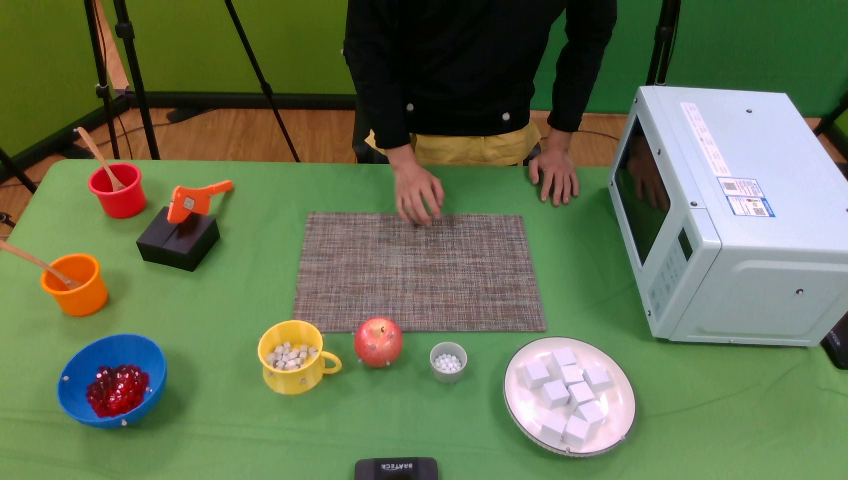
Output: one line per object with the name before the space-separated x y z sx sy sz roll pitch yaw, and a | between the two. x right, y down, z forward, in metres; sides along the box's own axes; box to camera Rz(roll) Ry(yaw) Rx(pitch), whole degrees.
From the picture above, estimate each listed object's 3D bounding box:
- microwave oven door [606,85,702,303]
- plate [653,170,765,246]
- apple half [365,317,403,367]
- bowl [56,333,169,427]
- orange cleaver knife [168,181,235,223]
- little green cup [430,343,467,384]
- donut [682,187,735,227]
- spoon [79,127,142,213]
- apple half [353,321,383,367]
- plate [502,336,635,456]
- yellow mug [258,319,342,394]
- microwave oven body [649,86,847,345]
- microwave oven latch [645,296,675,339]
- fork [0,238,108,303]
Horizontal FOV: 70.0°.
microwave oven door | 0.423 -0.094 1.140 0.039 0.245 0.353 2 46 -1
plate | 0.556 -0.060 1.195 0.209 0.038 0.208 1 45 -1
apple half | -0.063 0.165 1.000 0.053 0.075 0.080 -16 45 -24
bowl | -0.456 0.223 0.912 0.151 0.077 0.150 3 46 -2
orange cleaver knife | -0.436 -0.078 1.196 0.012 0.077 0.211 16 15 10
little green cup | 0.039 0.203 0.993 0.061 0.039 0.061 2 46 -2
donut | 0.554 -0.067 1.184 0.099 0.048 0.098 3 45 -3
spoon | -0.624 -0.139 1.203 0.041 0.021 0.194 -33 100 -26
apple half | -0.098 0.177 0.984 0.033 0.081 0.081 -17 49 -25
plate | 0.225 0.248 0.963 0.208 0.039 0.206 2 46 -2
yellow mug | -0.195 0.188 0.972 0.131 0.064 0.099 9 47 4
microwave oven body | 0.567 -0.053 1.118 0.326 0.261 0.439 2 45 -1
microwave oven latch | 0.412 0.134 1.061 0.030 0.029 0.078 3 45 0
fork | -0.633 0.048 1.017 0.208 0.018 0.028 40 41 -27
